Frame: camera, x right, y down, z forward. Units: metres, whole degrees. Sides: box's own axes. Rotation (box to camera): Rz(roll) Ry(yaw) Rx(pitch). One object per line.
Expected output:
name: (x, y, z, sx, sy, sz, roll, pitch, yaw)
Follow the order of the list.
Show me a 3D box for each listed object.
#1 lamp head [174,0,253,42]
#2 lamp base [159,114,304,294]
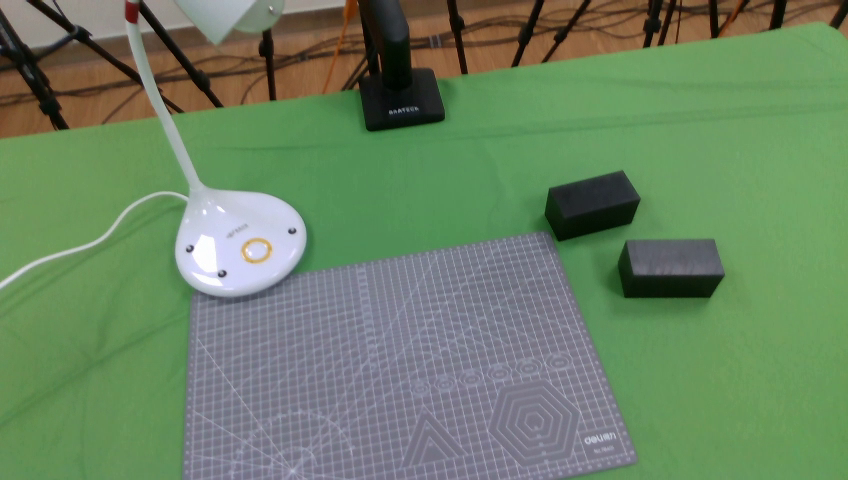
lamp head: (-0.184, -0.242, 0.495, 0.124, 0.112, 0.111, 37, 54, -22)
lamp base: (-0.245, -0.053, 0.709, 0.178, 0.182, 0.160, 28, 58, 25)
